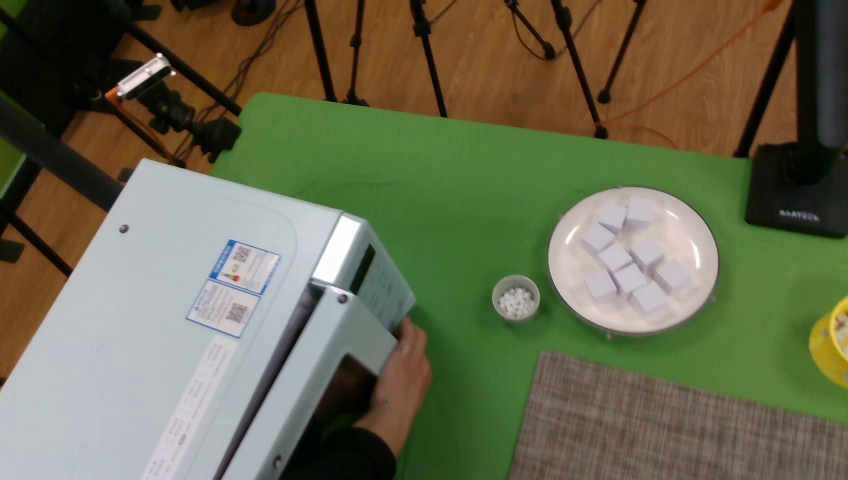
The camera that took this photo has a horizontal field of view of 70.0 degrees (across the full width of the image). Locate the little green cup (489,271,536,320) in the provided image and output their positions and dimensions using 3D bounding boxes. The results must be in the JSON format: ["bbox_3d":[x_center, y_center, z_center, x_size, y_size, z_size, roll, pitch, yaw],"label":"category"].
[{"bbox_3d":[0.117,0.075,0.790,0.061,0.039,0.061,-5,66,12],"label":"little green cup"}]

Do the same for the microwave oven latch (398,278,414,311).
[{"bbox_3d":[-0.046,0.084,0.802,0.030,0.030,0.079,32,77,23],"label":"microwave oven latch"}]

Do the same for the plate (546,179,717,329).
[{"bbox_3d":[0.263,0.019,0.784,0.207,0.039,0.206,-5,65,11],"label":"plate"}]

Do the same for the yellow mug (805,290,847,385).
[{"bbox_3d":[0.494,0.122,0.668,0.100,0.064,0.129,-14,64,6],"label":"yellow mug"}]

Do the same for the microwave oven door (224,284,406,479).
[{"bbox_3d":[-0.133,0.242,0.636,0.039,0.246,0.354,19,71,20],"label":"microwave oven door"}]

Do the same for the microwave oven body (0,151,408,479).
[{"bbox_3d":[-0.260,0.168,0.704,0.324,0.262,0.439,15,71,18],"label":"microwave oven body"}]
